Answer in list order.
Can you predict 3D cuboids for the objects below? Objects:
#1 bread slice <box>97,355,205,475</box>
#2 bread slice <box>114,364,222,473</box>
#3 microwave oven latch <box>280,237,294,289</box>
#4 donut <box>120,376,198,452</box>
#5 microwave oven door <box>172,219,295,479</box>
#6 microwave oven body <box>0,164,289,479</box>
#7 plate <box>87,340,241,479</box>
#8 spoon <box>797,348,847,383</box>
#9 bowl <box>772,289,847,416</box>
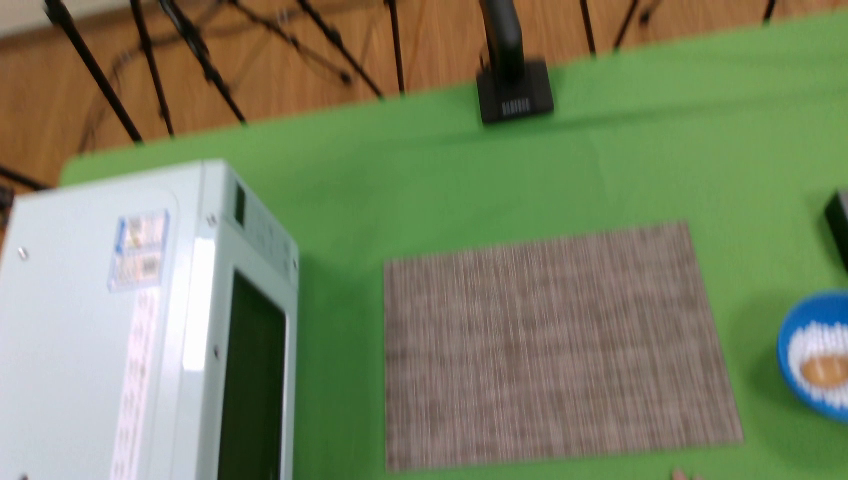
[{"bbox_3d":[-0.353,0.211,0.761,0.130,0.019,0.105,38,79,24],"label":"bread slice"},{"bbox_3d":[-0.347,0.229,0.803,0.133,0.018,0.106,28,65,27],"label":"bread slice"},{"bbox_3d":[-0.216,0.037,0.935,0.030,0.030,0.078,-9,63,7],"label":"microwave oven latch"},{"bbox_3d":[-0.342,0.224,0.782,0.099,0.048,0.098,-3,61,5],"label":"donut"},{"bbox_3d":[-0.222,0.183,0.745,0.039,0.246,0.352,-10,62,8],"label":"microwave oven door"},{"bbox_3d":[-0.367,0.172,0.789,0.326,0.262,0.437,-9,63,7],"label":"microwave oven body"},{"bbox_3d":[-0.340,0.238,0.807,0.207,0.039,0.206,-4,63,8],"label":"plate"},{"bbox_3d":[0.531,0.125,0.685,0.193,0.022,0.041,-22,53,26],"label":"spoon"},{"bbox_3d":[0.489,0.141,0.722,0.151,0.077,0.150,-5,62,10],"label":"bowl"}]
